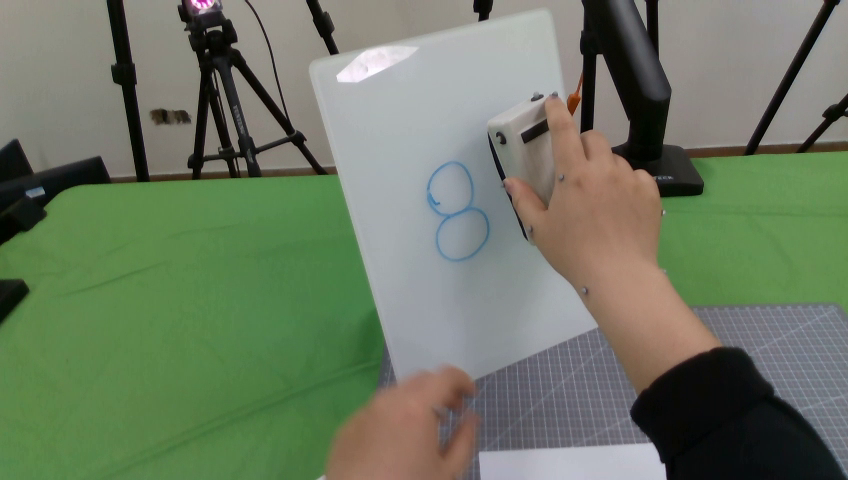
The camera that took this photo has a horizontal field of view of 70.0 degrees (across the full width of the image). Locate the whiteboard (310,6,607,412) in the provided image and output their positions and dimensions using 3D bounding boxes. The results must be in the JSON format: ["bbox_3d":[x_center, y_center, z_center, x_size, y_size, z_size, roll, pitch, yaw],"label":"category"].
[{"bbox_3d":[0.025,-0.036,0.584,0.217,0.307,0.143,-19,17,-16],"label":"whiteboard"}]

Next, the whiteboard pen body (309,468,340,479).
[{"bbox_3d":[-0.126,0.212,0.448,0.141,0.017,0.017,-25,40,-27],"label":"whiteboard pen body"}]

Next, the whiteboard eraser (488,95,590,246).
[{"bbox_3d":[0.092,-0.055,0.491,0.055,0.113,0.041,-29,22,-17],"label":"whiteboard eraser"}]
